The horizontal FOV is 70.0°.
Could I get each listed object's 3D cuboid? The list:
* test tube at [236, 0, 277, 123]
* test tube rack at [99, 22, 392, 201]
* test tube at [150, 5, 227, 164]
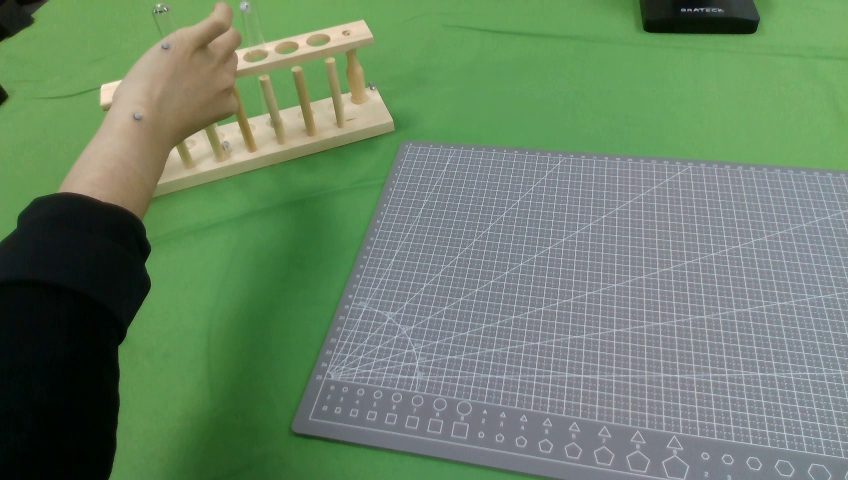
[{"bbox_3d":[-0.151,-0.174,0.543,0.017,0.151,0.017,-1,41,1],"label":"test tube"},{"bbox_3d":[-0.159,-0.121,0.565,0.243,0.086,0.066,-17,48,-10],"label":"test tube rack"},{"bbox_3d":[-0.196,-0.126,0.513,0.017,0.152,0.017,-3,47,3],"label":"test tube"}]
